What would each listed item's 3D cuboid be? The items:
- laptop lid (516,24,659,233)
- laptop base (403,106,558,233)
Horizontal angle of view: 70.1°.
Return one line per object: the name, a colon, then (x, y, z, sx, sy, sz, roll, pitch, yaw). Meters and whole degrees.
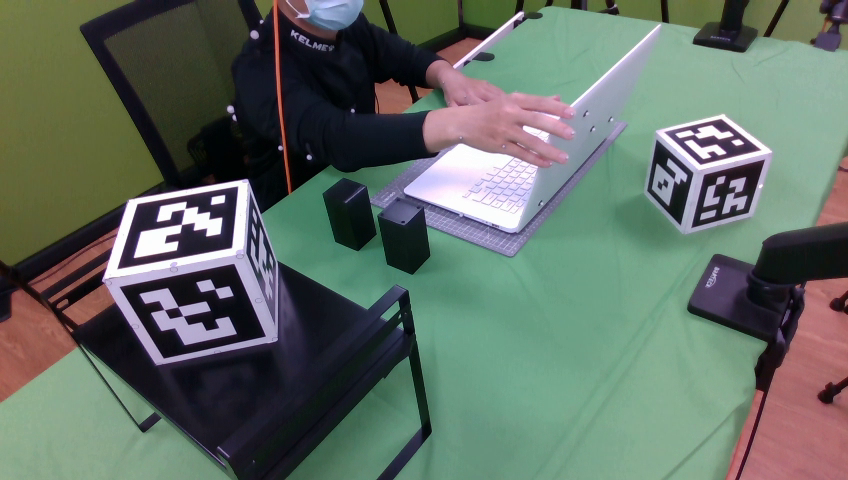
laptop lid: (0.265, -0.181, 0.968, 0.013, 0.242, 0.358, 33, 52, 19)
laptop base: (0.157, -0.144, 1.116, 0.233, 0.023, 0.355, 20, 47, 32)
